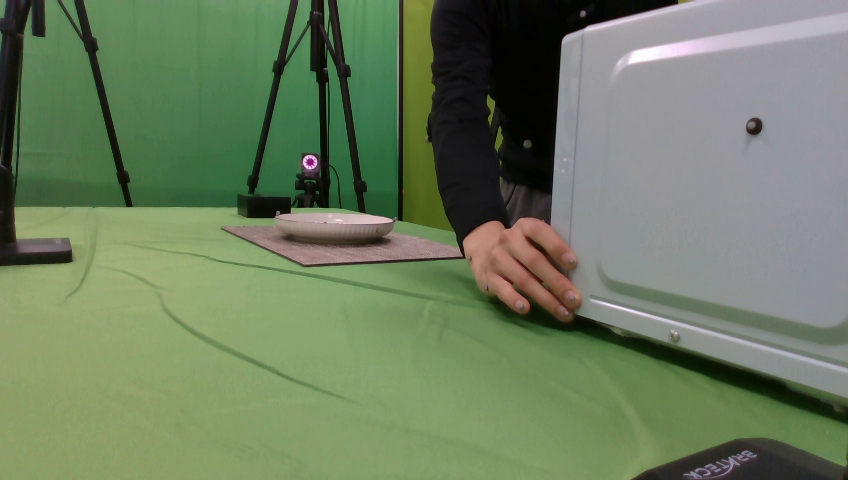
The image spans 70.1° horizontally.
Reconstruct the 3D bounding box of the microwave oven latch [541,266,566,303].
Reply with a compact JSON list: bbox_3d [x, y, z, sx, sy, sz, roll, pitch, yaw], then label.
[{"bbox_3d":[0.145,0.040,0.541,0.079,0.029,0.030,2,6,-3],"label":"microwave oven latch"}]

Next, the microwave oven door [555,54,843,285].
[{"bbox_3d":[0.324,-0.075,0.693,0.357,0.243,0.039,-1,8,-17],"label":"microwave oven door"}]

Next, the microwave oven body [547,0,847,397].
[{"bbox_3d":[0.378,-0.045,0.509,0.444,0.260,0.324,-2,8,-31],"label":"microwave oven body"}]

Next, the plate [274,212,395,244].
[{"bbox_3d":[-0.157,-0.022,1.066,0.209,0.038,0.209,2,8,0],"label":"plate"}]
